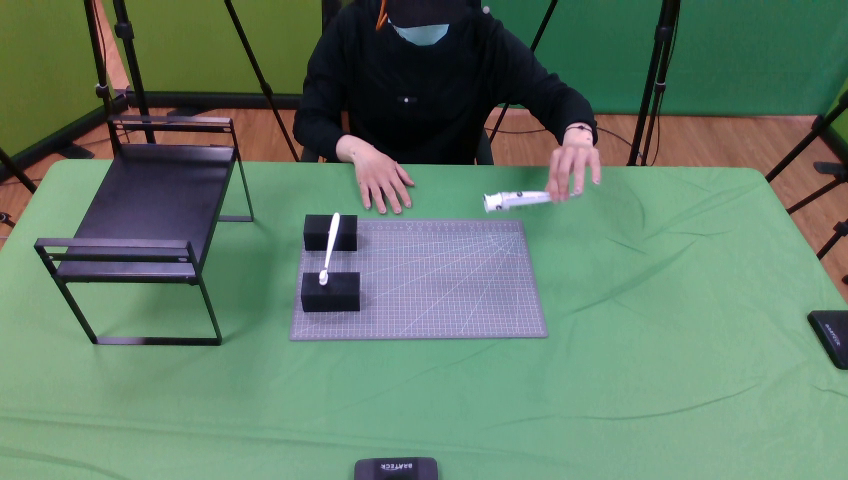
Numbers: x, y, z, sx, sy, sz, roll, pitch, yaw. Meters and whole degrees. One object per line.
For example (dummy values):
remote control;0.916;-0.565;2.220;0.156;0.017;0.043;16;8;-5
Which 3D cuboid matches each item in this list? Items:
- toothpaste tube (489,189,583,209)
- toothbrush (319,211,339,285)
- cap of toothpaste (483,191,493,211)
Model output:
toothpaste tube;0.196;-0.077;1.078;0.165;0.055;0.034;-5;91;2
toothbrush;-0.172;0.009;1.103;0.014;0.017;0.180;-6;44;9
cap of toothpaste;0.115;-0.070;1.083;0.011;0.037;0.037;-10;48;-7
